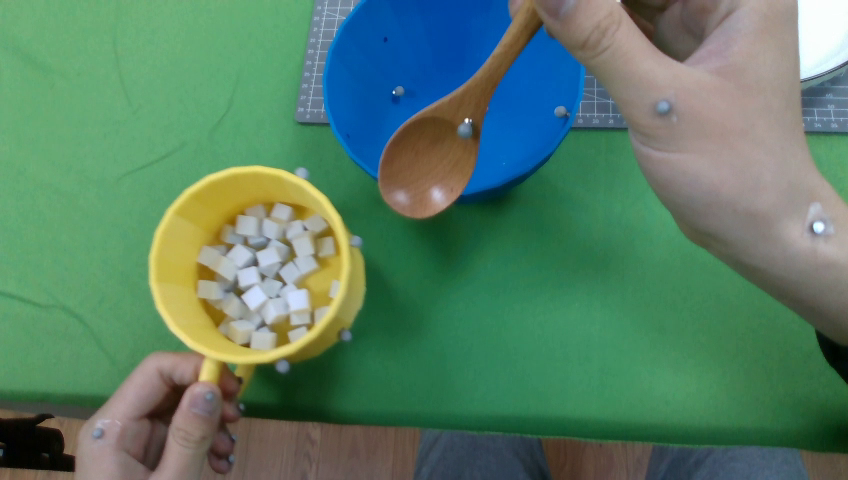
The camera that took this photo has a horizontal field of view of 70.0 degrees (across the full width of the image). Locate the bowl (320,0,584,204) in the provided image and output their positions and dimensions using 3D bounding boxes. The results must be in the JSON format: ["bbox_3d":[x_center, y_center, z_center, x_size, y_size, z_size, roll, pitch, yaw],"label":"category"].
[{"bbox_3d":[0.019,-0.084,0.379,0.151,0.077,0.150,-2,74,6],"label":"bowl"}]

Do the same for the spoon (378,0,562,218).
[{"bbox_3d":[0.033,-0.073,0.223,0.042,0.194,0.021,30,46,-8],"label":"spoon"}]

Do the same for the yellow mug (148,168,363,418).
[{"bbox_3d":[-0.091,0.032,0.328,0.100,0.064,0.130,17,81,4],"label":"yellow mug"}]

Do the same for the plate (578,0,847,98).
[{"bbox_3d":[0.205,-0.183,0.416,0.209,0.038,0.207,-2,70,5],"label":"plate"}]
